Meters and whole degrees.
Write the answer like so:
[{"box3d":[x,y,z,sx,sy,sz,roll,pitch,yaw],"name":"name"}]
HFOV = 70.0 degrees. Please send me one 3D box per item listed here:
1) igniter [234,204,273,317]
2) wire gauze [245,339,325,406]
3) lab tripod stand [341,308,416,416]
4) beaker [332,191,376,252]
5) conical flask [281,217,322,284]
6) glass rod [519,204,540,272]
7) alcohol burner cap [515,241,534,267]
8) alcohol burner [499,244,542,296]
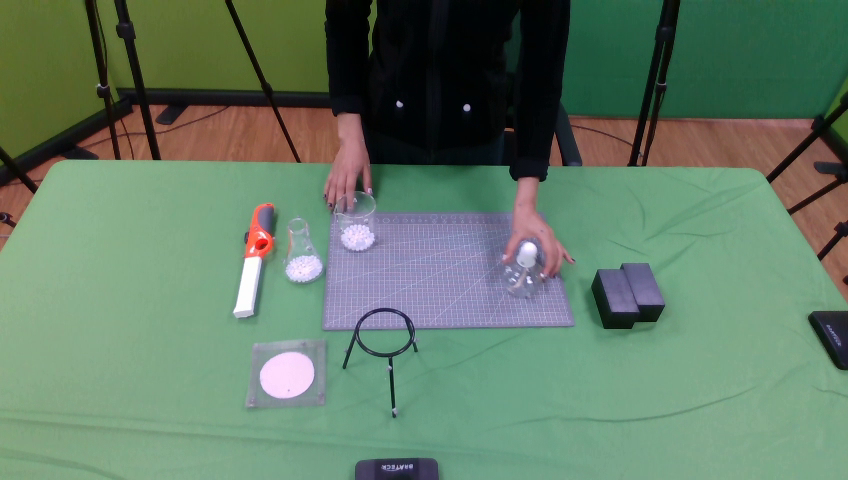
[{"box3d":[-0.320,0.029,1.143,0.057,0.025,0.274,-8,46,4],"name":"igniter"},{"box3d":[-0.224,0.215,0.984,0.125,0.011,0.120,-2,46,-5],"name":"wire gauze"},{"box3d":[-0.061,0.177,0.946,0.148,0.132,0.147,2,44,-2],"name":"lab tripod stand"},{"box3d":[-0.133,-0.032,1.163,0.084,0.101,0.073,-19,50,-20],"name":"beaker"},{"box3d":[-0.226,0.016,1.097,0.075,0.122,0.075,2,46,-2],"name":"conical flask"},{"box3d":[0.213,-0.007,1.231,0.008,0.008,0.198,-1,43,-4],"name":"glass rod"},{"box3d":[0.180,0.023,1.075,0.034,0.048,0.033,1,52,-1],"name":"alcohol burner cap"},{"box3d":[0.179,0.047,1.102,0.078,0.119,0.077,4,45,-3],"name":"alcohol burner"}]
